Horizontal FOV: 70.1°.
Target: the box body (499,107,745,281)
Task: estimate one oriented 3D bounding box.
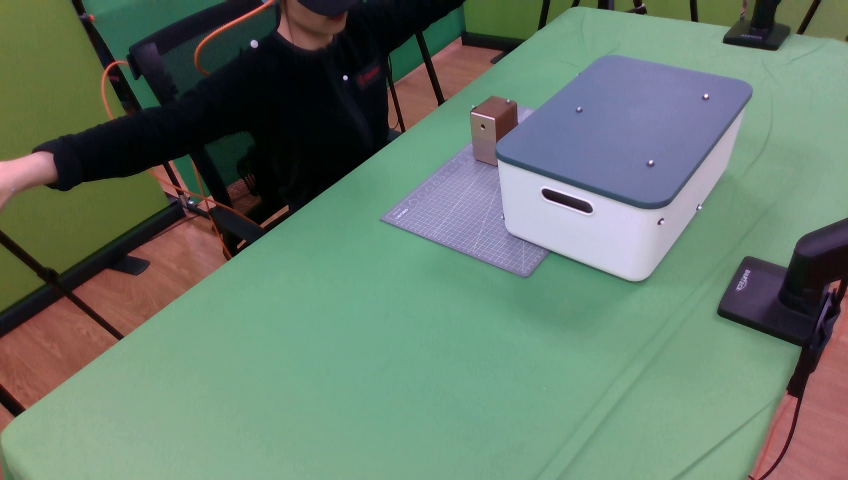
[{"bbox_3d":[0.315,-0.124,0.958,0.252,0.161,0.365,24,50,32],"label":"box body"}]

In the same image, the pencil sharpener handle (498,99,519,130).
[{"bbox_3d":[0.165,-0.243,1.148,0.035,0.068,0.031,22,49,35],"label":"pencil sharpener handle"}]

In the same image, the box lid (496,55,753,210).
[{"bbox_3d":[0.308,-0.181,0.911,0.261,0.015,0.372,24,50,31],"label":"box lid"}]

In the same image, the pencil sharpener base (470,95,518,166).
[{"bbox_3d":[0.134,-0.205,1.128,0.061,0.107,0.077,23,50,33],"label":"pencil sharpener base"}]
